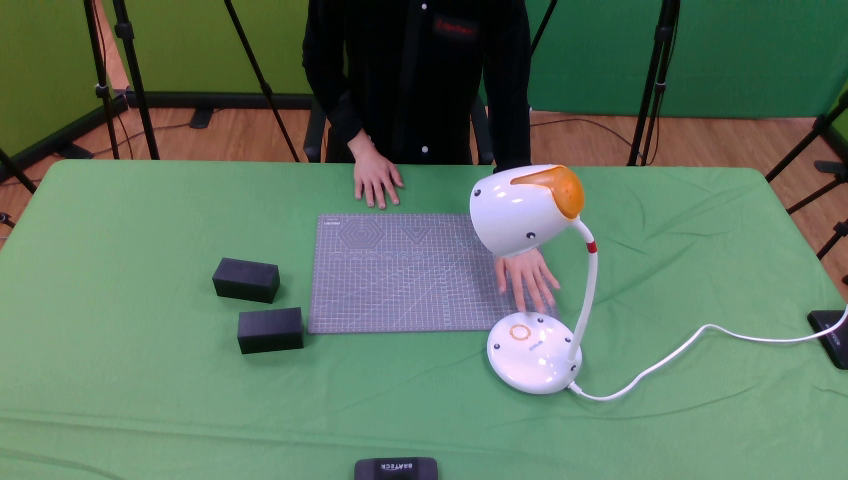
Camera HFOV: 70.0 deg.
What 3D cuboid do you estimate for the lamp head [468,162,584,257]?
[{"bbox_3d":[0.136,-0.043,0.747,0.122,0.113,0.112,-15,30,42],"label":"lamp head"}]

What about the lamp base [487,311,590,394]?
[{"bbox_3d":[0.199,0.142,0.963,0.178,0.181,0.160,38,56,24],"label":"lamp base"}]
